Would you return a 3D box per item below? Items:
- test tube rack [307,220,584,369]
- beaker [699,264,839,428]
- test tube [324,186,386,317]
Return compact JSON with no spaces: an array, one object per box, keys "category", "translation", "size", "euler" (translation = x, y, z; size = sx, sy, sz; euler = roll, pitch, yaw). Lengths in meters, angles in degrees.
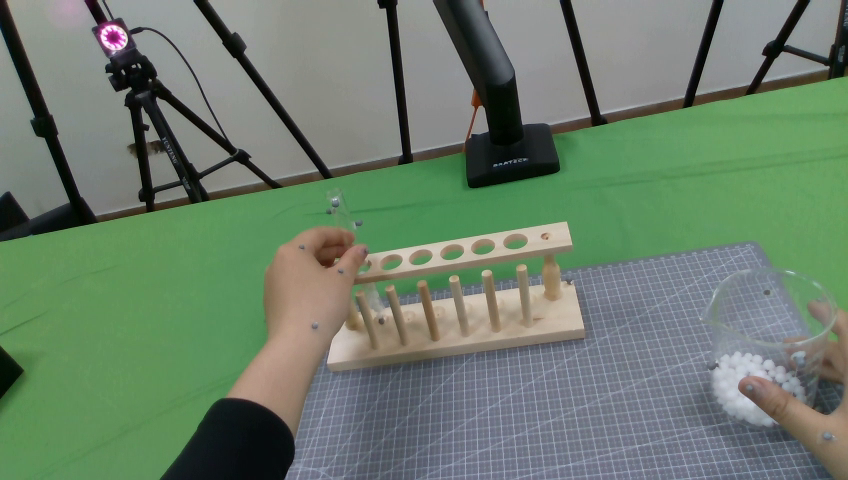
[{"category":"test tube rack","translation":[0.018,0.053,0.564],"size":[0.242,0.086,0.066],"euler":[-9,37,10]},{"category":"beaker","translation":[0.240,0.079,0.432],"size":[0.084,0.101,0.073],"euler":[-10,37,11]},{"category":"test tube","translation":[-0.061,0.015,0.560],"size":[0.017,0.152,0.017],"euler":[-11,36,8]}]
